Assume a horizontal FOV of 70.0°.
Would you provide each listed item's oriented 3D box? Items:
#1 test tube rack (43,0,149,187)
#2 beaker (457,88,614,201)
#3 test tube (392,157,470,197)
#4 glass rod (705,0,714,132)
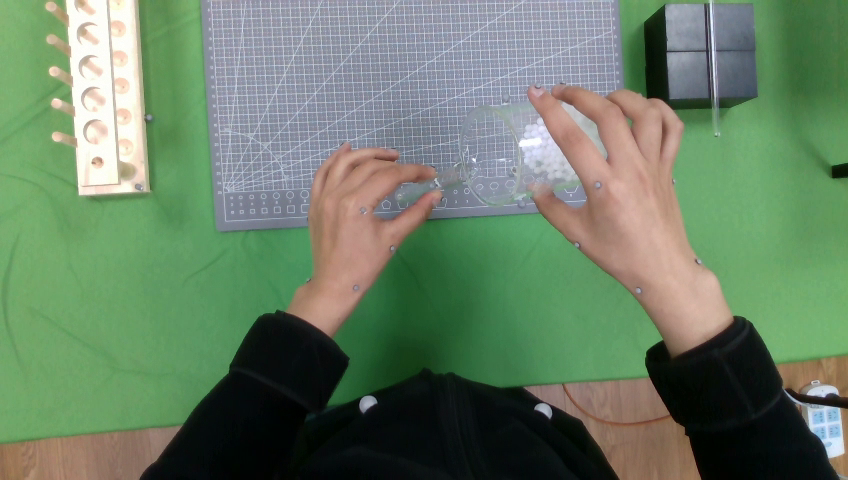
[{"bbox_3d":[-0.320,-0.176,0.579,0.067,0.085,0.242,-4,91,-5],"label":"test tube rack"},{"bbox_3d":[0.085,-0.074,0.460,0.100,0.084,0.074,-14,85,-27],"label":"beaker"},{"bbox_3d":[0.001,-0.054,0.541,0.017,0.149,0.017,1,87,-23],"label":"test tube"},{"bbox_3d":[0.299,-0.213,0.636,0.008,0.008,0.199,-2,91,-6],"label":"glass rod"}]
